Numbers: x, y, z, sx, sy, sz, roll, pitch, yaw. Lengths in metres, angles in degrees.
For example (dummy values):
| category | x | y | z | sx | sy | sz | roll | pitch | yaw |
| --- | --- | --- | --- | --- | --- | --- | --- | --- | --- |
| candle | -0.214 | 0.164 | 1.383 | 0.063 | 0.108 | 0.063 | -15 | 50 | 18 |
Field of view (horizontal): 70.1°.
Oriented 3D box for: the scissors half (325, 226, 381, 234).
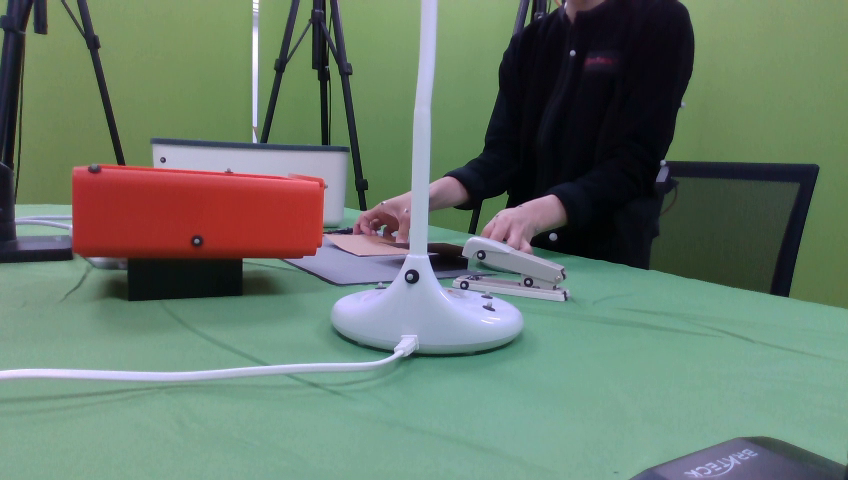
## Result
| category | x | y | z | sx | sy | sz | roll | pitch | yaw |
| --- | --- | --- | --- | --- | --- | --- | --- | --- | --- |
| scissors half | -0.153 | -0.014 | 1.080 | 0.176 | 0.013 | 0.040 | -6 | 5 | -33 |

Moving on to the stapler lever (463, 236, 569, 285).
| category | x | y | z | sx | sy | sz | roll | pitch | yaw |
| --- | --- | --- | --- | --- | --- | --- | --- | --- | --- |
| stapler lever | 0.100 | 0.022 | 0.666 | 0.117 | 0.040 | 0.027 | 8 | 12 | 23 |

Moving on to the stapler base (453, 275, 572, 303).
| category | x | y | z | sx | sy | sz | roll | pitch | yaw |
| --- | --- | --- | --- | --- | --- | --- | --- | --- | --- |
| stapler base | 0.097 | 0.047 | 0.670 | 0.130 | 0.024 | 0.041 | 7 | 11 | 23 |

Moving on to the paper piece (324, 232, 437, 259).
| category | x | y | z | sx | sy | sz | roll | pitch | yaw |
| --- | --- | --- | --- | --- | --- | --- | --- | --- | --- |
| paper piece | -0.069 | 0.007 | 0.938 | 0.136 | 0.004 | 0.134 | -1 | 17 | -29 |

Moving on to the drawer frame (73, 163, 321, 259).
| category | x | y | z | sx | sy | sz | roll | pitch | yaw |
| --- | --- | --- | --- | --- | --- | --- | --- | --- | --- |
| drawer frame | -0.232 | -0.034 | 0.635 | 0.214 | 0.082 | 0.201 | 1 | 8 | -23 |

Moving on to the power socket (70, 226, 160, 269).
| category | x | y | z | sx | sy | sz | roll | pitch | yaw |
| --- | --- | --- | --- | --- | --- | --- | --- | --- | --- |
| power socket | -0.409 | 0.004 | 0.793 | 0.072 | 0.032 | 0.225 | -2 | 8 | -38 |

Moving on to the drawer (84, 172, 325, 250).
| category | x | y | z | sx | sy | sz | roll | pitch | yaw |
| --- | --- | --- | --- | --- | --- | --- | --- | --- | --- |
| drawer | -0.227 | -0.036 | 0.638 | 0.213 | 0.073 | 0.193 | -1 | 9 | -23 |

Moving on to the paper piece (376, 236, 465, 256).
| category | x | y | z | sx | sy | sz | roll | pitch | yaw |
| --- | --- | --- | --- | --- | --- | --- | --- | --- | --- |
| paper piece | 0.028 | 0.012 | 0.826 | 0.139 | 0.008 | 0.135 | 14 | -5 | -43 |

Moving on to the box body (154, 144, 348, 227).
| category | x | y | z | sx | sy | sz | roll | pitch | yaw |
| --- | --- | --- | --- | --- | --- | --- | --- | --- | --- |
| box body | -0.357 | -0.119 | 1.264 | 0.365 | 0.160 | 0.253 | 0 | 7 | -18 |

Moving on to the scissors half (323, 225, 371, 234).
| category | x | y | z | sx | sy | sz | roll | pitch | yaw |
| --- | --- | --- | --- | --- | --- | --- | --- | --- | --- |
| scissors half | -0.166 | -0.016 | 1.094 | 0.040 | 0.013 | 0.176 | 6 | 10 | 39 |

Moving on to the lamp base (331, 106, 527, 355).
| category | x | y | z | sx | sy | sz | roll | pitch | yaw |
| --- | --- | --- | --- | --- | --- | --- | --- | --- | --- |
| lamp base | 0.006 | -0.012 | 0.478 | 0.161 | 0.180 | 0.179 | 2 | 10 | 2 |

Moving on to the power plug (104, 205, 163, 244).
| category | x | y | z | sx | sy | sz | roll | pitch | yaw |
| --- | --- | --- | --- | --- | --- | --- | --- | --- | --- |
| power plug | -0.390 | -0.021 | 0.815 | 0.073 | 0.052 | 0.035 | -1 | 8 | -27 |

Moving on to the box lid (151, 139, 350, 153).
| category | x | y | z | sx | sy | sz | roll | pitch | yaw |
| --- | --- | --- | --- | --- | --- | --- | --- | --- | --- |
| box lid | -0.352 | -0.191 | 1.256 | 0.373 | 0.015 | 0.262 | 0 | 8 | -18 |
